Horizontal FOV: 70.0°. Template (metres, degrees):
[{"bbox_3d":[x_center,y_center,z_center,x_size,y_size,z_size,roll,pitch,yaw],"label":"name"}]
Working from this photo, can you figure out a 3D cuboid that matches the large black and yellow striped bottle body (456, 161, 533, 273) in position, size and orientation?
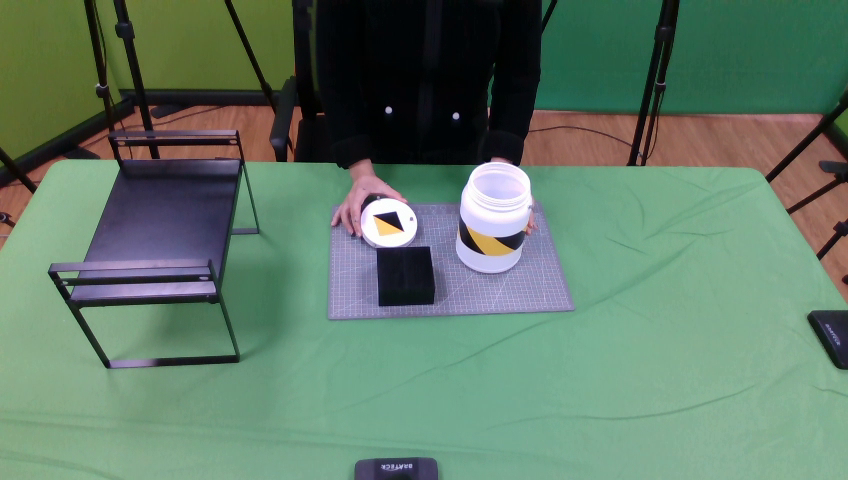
[{"bbox_3d":[0.131,-0.042,1.129,0.131,0.185,0.130,2,46,-2],"label":"large black and yellow striped bottle body"}]

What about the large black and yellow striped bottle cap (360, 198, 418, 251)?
[{"bbox_3d":[-0.069,-0.033,1.204,0.115,0.019,0.114,4,61,-6],"label":"large black and yellow striped bottle cap"}]
